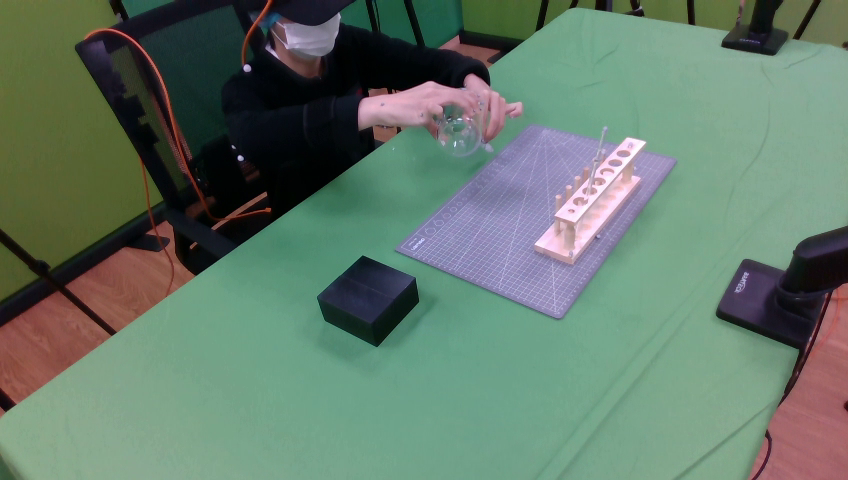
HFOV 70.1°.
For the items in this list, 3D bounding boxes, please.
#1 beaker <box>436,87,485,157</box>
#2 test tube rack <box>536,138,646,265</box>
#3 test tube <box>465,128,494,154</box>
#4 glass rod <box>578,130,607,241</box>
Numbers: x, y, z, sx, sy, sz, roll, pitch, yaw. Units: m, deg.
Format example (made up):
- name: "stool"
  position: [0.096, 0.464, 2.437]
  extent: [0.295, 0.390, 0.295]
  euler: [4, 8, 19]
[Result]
- name: "beaker"
  position: [0.058, -0.180, 0.945]
  extent: [0.074, 0.084, 0.100]
  euler: [-12, 35, 17]
- name: "test tube rack"
  position: [0.268, -0.071, 0.964]
  extent: [0.066, 0.085, 0.243]
  euler: [23, 49, 32]
- name: "test tube"
  position: [0.101, -0.173, 1.071]
  extent: [0.017, 0.017, 0.151]
  euler: [10, -1, 21]
- name: "glass rod"
  position: [0.240, -0.071, 0.866]
  extent: [0.008, 0.200, 0.008]
  euler: [0, 43, 1]
